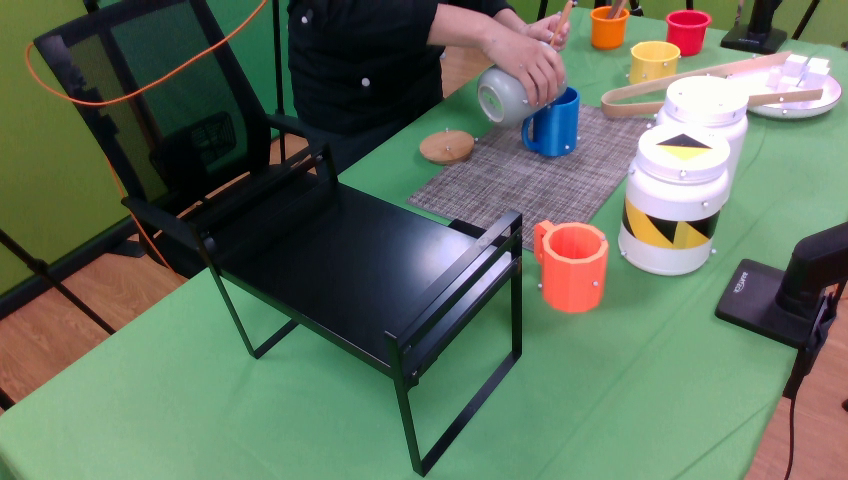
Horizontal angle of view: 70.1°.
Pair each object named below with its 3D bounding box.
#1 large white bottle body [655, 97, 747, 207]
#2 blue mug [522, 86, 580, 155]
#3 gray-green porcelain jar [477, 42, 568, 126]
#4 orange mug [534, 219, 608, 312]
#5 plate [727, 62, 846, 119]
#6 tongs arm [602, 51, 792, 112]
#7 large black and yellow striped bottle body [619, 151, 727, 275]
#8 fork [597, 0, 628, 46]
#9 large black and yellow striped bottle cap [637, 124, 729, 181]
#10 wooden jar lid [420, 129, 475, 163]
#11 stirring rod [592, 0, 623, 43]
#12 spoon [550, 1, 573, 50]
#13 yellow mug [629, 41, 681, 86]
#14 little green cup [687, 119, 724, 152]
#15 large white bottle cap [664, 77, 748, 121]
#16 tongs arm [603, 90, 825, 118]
[{"bbox_3d":[0.431,-0.148,0.959,0.130,0.185,0.130,-4,41,4],"label":"large white bottle body"},{"bbox_3d":[0.233,-0.218,1.127,0.117,0.106,0.081,-23,43,-16],"label":"blue mug"},{"bbox_3d":[0.164,-0.263,1.038,0.127,0.106,0.105,-33,46,-16],"label":"gray-green porcelain jar"},{"bbox_3d":[0.200,0.027,0.858,0.084,0.101,0.125,-24,48,-18],"label":"orange mug"},{"bbox_3d":[0.709,-0.292,1.197,0.207,0.039,0.206,-4,40,4],"label":"plate"},{"bbox_3d":[0.552,-0.320,1.224,0.384,0.027,0.050,-10,43,7],"label":"tongs arm"},{"bbox_3d":[0.354,-0.056,0.865,0.131,0.185,0.130,-4,41,4],"label":"large black and yellow striped bottle body"},{"bbox_3d":[0.479,-0.558,1.455,0.028,0.019,0.207,35,100,38],"label":"fork"},{"bbox_3d":[0.346,-0.119,0.810,0.115,0.019,0.114,-5,41,5],"label":"large black and yellow striped bottle cap"},{"bbox_3d":[0.047,-0.183,1.183,0.108,0.021,0.108,-6,37,5],"label":"wooden jar lid"},{"bbox_3d":[0.460,-0.557,1.461,0.014,0.176,0.006,35,11,22],"label":"stirring rod"},{"bbox_3d":[0.223,-0.339,1.072,0.041,0.022,0.193,19,79,40],"label":"spoon"},{"bbox_3d":[0.495,-0.389,1.321,0.100,0.064,0.130,-14,40,-7],"label":"yellow mug"},{"bbox_3d":[0.514,-0.191,1.109,0.061,0.039,0.061,-5,40,5],"label":"little green cup"},{"bbox_3d":[0.421,-0.212,0.905,0.115,0.018,0.114,-4,40,4],"label":"large white bottle cap"},{"bbox_3d":[0.546,-0.262,1.163,0.386,0.028,0.028,-1,49,18],"label":"tongs arm"}]
